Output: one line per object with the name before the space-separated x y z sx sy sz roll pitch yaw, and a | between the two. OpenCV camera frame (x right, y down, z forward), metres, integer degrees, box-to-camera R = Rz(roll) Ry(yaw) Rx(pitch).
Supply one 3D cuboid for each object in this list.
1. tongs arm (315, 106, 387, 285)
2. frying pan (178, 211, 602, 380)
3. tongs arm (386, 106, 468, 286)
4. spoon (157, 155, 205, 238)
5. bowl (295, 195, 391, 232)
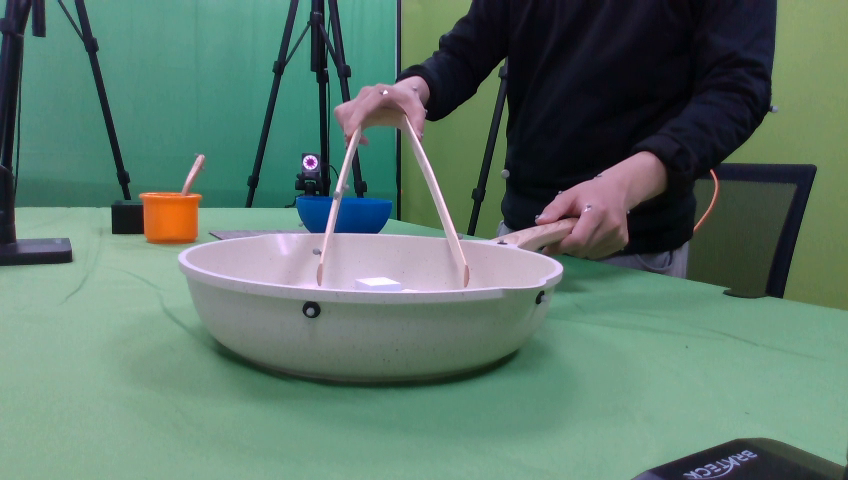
tongs arm | -0.071 -0.072 0.672 0.051 0.026 0.384 1 32 -2
frying pan | 0.035 0.019 0.556 0.490 0.102 0.305 -16 18 -42
tongs arm | -0.003 -0.071 0.679 0.028 0.028 0.386 -7 33 -8
spoon | -0.392 -0.076 0.998 0.041 0.193 0.021 2 -36 5
bowl | -0.126 -0.027 0.946 0.151 0.077 0.151 2 7 0
